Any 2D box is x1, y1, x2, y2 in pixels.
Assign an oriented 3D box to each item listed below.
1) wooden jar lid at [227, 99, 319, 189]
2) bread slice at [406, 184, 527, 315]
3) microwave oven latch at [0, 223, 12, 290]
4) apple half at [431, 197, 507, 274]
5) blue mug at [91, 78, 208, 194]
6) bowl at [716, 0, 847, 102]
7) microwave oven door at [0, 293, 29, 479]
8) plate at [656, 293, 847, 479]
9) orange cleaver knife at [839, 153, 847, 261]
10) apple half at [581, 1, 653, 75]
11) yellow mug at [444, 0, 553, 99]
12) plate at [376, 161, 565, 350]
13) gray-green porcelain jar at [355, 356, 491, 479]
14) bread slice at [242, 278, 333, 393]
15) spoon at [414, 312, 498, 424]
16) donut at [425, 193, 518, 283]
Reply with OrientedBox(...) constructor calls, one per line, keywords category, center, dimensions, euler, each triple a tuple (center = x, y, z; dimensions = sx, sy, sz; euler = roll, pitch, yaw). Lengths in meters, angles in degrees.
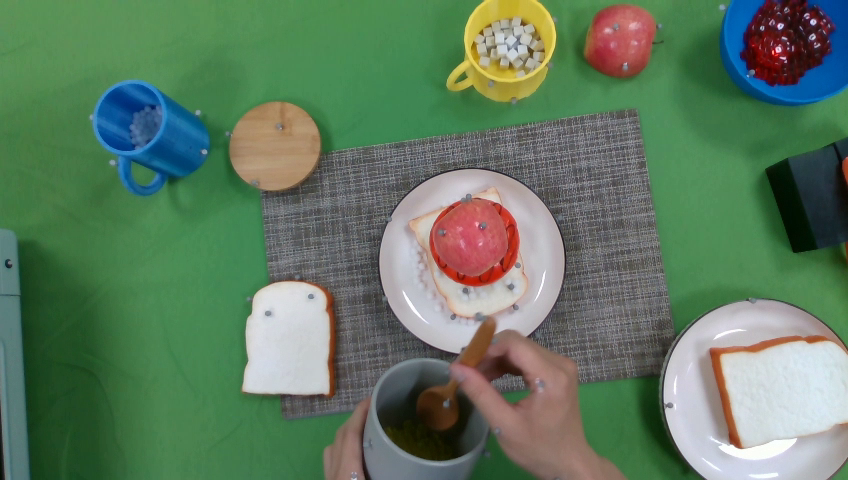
OrientedBox(category="wooden jar lid", center=(-0.176, -0.111, 0.714), dimensions=(0.108, 0.021, 0.108), euler=(-1, 82, 5))
OrientedBox(category="bread slice", center=(0.055, 0.015, 0.678), dimensions=(0.107, 0.018, 0.134), euler=(-25, 83, 2))
OrientedBox(category="microwave oven latch", center=(-0.496, 0.019, 0.699), dimensions=(0.030, 0.029, 0.079), euler=(-4, 85, 3))
OrientedBox(category="apple half", center=(0.046, -0.005, 0.615), dimensions=(0.081, 0.033, 0.081), euler=(-1, 83, 11))
OrientedBox(category="blue mug", center=(-0.309, -0.109, 0.682), dimensions=(0.082, 0.106, 0.116), euler=(13, 86, 5))
OrientedBox(category="bowl", center=(0.385, -0.214, 0.658), dimensions=(0.151, 0.077, 0.151), euler=(0, 85, 4))
OrientedBox(category="microwave oven door", center=(-0.479, 0.226, 0.577), dimensions=(0.039, 0.244, 0.354), euler=(-8, 84, 3))
OrientedBox(category="plate", center=(0.351, 0.161, 0.647), dimensions=(0.209, 0.038, 0.208), euler=(0, 85, 4))
OrientedBox(category="orange cleaver knife", center=(0.467, 0.012, 0.630), dimensions=(0.012, 0.076, 0.212), euler=(-19, 105, -5))
OrientedBox(category="apple half", center=(0.220, -0.235, 0.685), dimensions=(0.074, 0.053, 0.080), euler=(15, 86, 8))
OrientedBox(category="yellow mug", center=(0.079, -0.210, 0.686), dimensions=(0.131, 0.064, 0.099), euler=(-32, 83, 1))
OrientedBox(category="plate", center=(0.051, 0.018, 0.677), dimensions=(0.207, 0.039, 0.207), euler=(0, 85, 4))
OrientedBox(category="gray-green porcelain jar", center=(-0.006, 0.185, 0.553), dimensions=(0.105, 0.105, 0.127), euler=(21, 130, 6))
OrientedBox(category="bread slice", center=(-0.157, 0.109, 0.693), dimensions=(0.105, 0.019, 0.131), euler=(0, 85, 3))
OrientedBox(category="spoon", center=(0.027, 0.110, 0.494), dimensions=(0.041, 0.195, 0.021), euler=(31, 55, 7))
OrientedBox(category="donut", center=(0.051, -0.002, 0.651), dimensions=(0.099, 0.048, 0.099), euler=(0, 86, 5))
